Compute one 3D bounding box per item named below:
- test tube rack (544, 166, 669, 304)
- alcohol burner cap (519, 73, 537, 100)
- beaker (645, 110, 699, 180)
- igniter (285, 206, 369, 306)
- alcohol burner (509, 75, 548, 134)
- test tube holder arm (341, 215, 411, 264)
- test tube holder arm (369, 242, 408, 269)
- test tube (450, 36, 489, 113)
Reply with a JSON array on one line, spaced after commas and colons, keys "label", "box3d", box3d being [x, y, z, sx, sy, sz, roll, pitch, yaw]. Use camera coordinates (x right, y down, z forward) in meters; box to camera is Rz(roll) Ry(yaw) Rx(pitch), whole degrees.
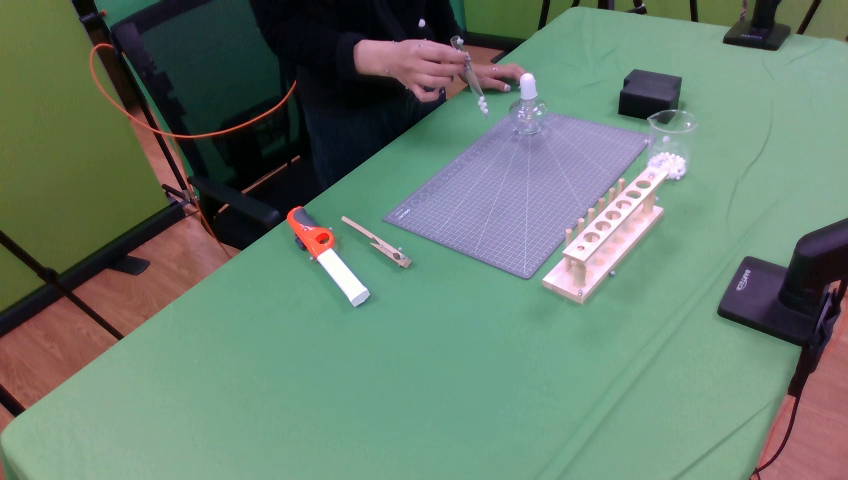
[{"label": "test tube rack", "box3d": [0.274, -0.018, 0.903, 0.066, 0.085, 0.243, 26, 51, 35]}, {"label": "alcohol burner cap", "box3d": [0.198, -0.298, 1.163, 0.034, 0.048, 0.033, -9, 37, 8]}, {"label": "beaker", "box3d": [0.417, -0.160, 1.032, 0.083, 0.101, 0.074, 25, 51, 35]}, {"label": "igniter", "box3d": [-0.166, 0.018, 0.986, 0.057, 0.025, 0.274, -34, 45, -13]}, {"label": "alcohol burner", "box3d": [0.204, -0.270, 1.186, 0.078, 0.119, 0.077, -5, 42, 5]}, {"label": "test tube holder arm", "box3d": [-0.083, -0.002, 1.000, 0.177, 0.015, 0.013, 33, 86, 40]}, {"label": "test tube holder arm", "box3d": [-0.057, 0.021, 0.971, 0.087, 0.015, 0.010, 34, 87, 40]}, {"label": "test tube", "box3d": [0.077, -0.267, 0.987, 0.017, 0.151, 0.017, -16, 46, 17]}]
